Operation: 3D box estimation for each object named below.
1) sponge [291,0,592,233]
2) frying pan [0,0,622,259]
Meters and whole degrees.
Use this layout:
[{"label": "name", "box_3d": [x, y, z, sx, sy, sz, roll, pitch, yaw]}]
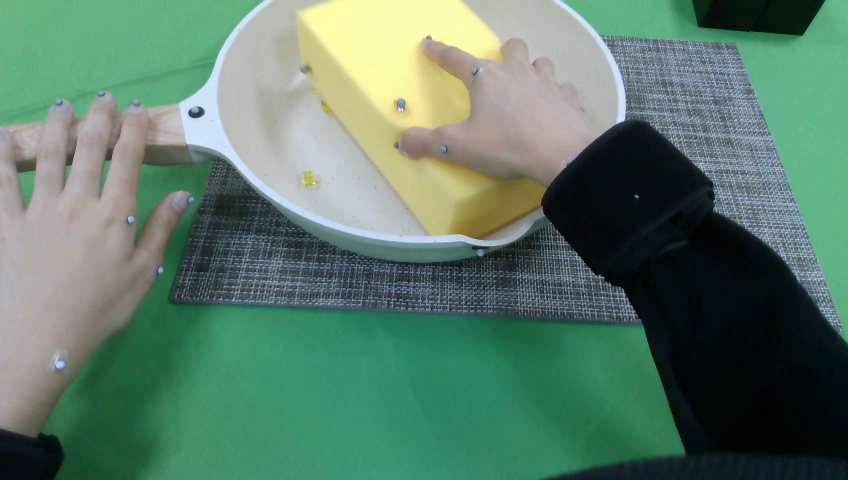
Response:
[{"label": "sponge", "box_3d": [0.005, -0.108, 0.445, 0.118, 0.061, 0.205, -28, 65, -22]}, {"label": "frying pan", "box_3d": [-0.103, -0.086, 0.422, 0.489, 0.103, 0.303, -10, 56, -19]}]
